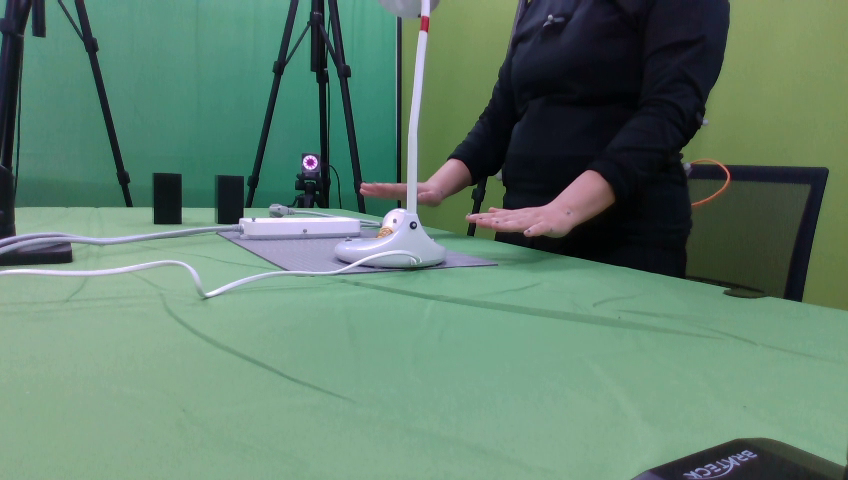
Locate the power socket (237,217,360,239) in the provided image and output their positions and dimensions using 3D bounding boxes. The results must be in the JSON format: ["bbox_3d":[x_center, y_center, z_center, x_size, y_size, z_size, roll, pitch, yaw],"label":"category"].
[{"bbox_3d":[-0.221,-0.023,1.080,0.228,0.032,0.072,-2,8,-32],"label":"power socket"}]

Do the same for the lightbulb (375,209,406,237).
[{"bbox_3d":[-0.053,-0.016,1.022,0.059,0.059,0.108,6,23,21],"label":"lightbulb"}]

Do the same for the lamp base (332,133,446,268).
[{"bbox_3d":[-0.038,-0.058,0.833,0.161,0.180,0.178,-2,11,-32],"label":"lamp base"}]

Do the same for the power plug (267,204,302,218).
[{"bbox_3d":[-0.328,-0.060,1.404,0.073,0.035,0.052,22,-15,-27],"label":"power plug"}]

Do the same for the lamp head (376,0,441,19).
[{"bbox_3d":[-0.012,-0.373,0.822,0.113,0.112,0.122,1,0,-14],"label":"lamp head"}]
